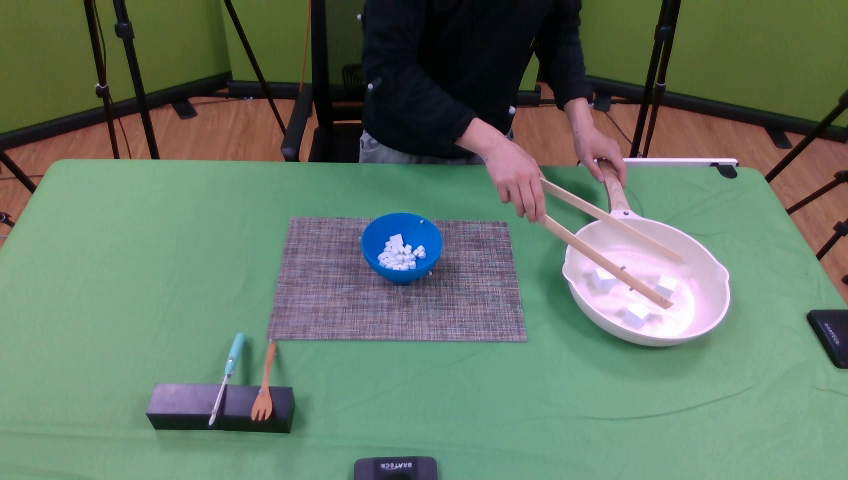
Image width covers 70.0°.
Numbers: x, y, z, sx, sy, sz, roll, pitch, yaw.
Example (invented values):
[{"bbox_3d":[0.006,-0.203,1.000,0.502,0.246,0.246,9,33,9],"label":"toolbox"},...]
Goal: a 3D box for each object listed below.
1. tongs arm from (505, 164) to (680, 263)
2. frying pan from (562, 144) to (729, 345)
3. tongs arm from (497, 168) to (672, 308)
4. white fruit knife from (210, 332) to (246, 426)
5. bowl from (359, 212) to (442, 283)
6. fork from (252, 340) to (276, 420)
[{"bbox_3d":[0.314,-0.046,1.125,0.388,0.028,0.028,27,60,-10],"label":"tongs arm"},{"bbox_3d":[0.396,-0.008,1.179,0.307,0.103,0.484,1,55,-4],"label":"frying pan"},{"bbox_3d":[0.290,-0.002,1.090,0.385,0.026,0.050,33,56,-6],"label":"tongs arm"},{"bbox_3d":[-0.301,0.206,0.930,0.016,0.027,0.206,5,29,-7],"label":"white fruit knife"},{"bbox_3d":[-0.045,0.026,1.125,0.151,0.077,0.150,2,46,-2],"label":"bowl"},{"bbox_3d":[-0.242,0.211,0.932,0.028,0.019,0.206,-5,26,-7],"label":"fork"}]
